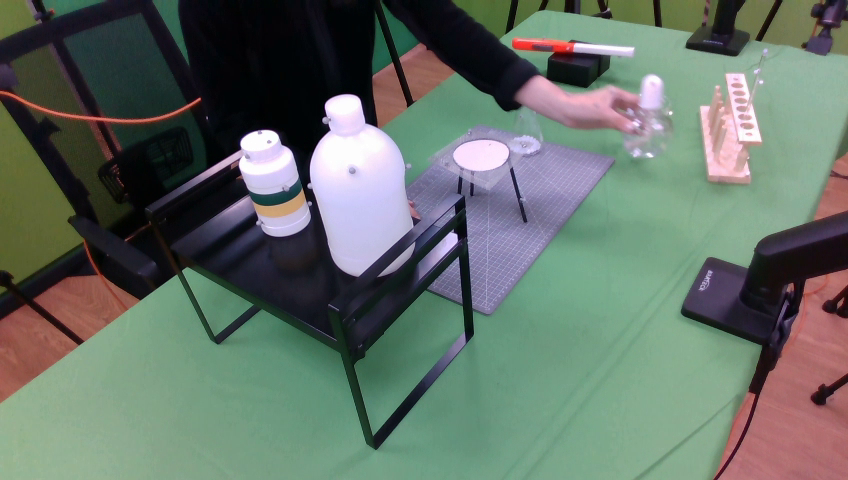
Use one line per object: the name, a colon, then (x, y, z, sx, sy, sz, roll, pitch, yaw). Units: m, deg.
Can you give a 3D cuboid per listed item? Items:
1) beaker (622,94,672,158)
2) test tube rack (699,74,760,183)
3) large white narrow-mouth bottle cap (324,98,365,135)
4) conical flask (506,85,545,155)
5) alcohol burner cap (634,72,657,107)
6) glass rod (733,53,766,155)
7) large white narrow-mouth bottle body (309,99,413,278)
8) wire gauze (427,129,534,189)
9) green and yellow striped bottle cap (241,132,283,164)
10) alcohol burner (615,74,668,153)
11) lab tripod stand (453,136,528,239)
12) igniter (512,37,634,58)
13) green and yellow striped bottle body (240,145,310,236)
beaker: (0.403, -0.210, 1.106, 0.074, 0.101, 0.083, -9, 40, -2)
test tube rack: (0.547, -0.208, 1.094, 0.066, 0.085, 0.242, 6, 42, 15)
large white narrow-mouth bottle cap: (-0.076, -0.120, 0.586, 0.038, 0.024, 0.037, -3, 42, 3)
conical flask: (0.190, -0.227, 1.134, 0.075, 0.122, 0.075, -4, 41, 4)
alcohol burner cap: (0.330, -0.225, 0.898, 0.034, 0.048, 0.033, -6, 36, 5)
glass rod: (0.540, -0.219, 1.006, 0.008, 0.201, 0.008, -5, 45, 6)
large white narrow-mouth bottle body: (-0.068, -0.057, 0.645, 0.102, 0.195, 0.101, -4, 42, 4)
wire gauze: (0.086, -0.131, 0.924, 0.124, 0.011, 0.122, 26, 52, 33)
green and yellow striped bottle cap: (-0.187, -0.106, 0.695, 0.045, 0.020, 0.045, -3, 39, 3)
alcohol burner: (0.332, -0.194, 0.916, 0.078, 0.119, 0.077, -2, 31, 2)
lab tripod stand: (0.094, -0.086, 0.974, 0.148, 0.132, 0.147, -3, 43, 4)
igniter: (0.328, -0.433, 1.360, 0.275, 0.025, 0.057, 12, 33, 20)
green and yellow striped bottle body: (-0.181, -0.068, 0.729, 0.063, 0.120, 0.063, -4, 40, 4)
